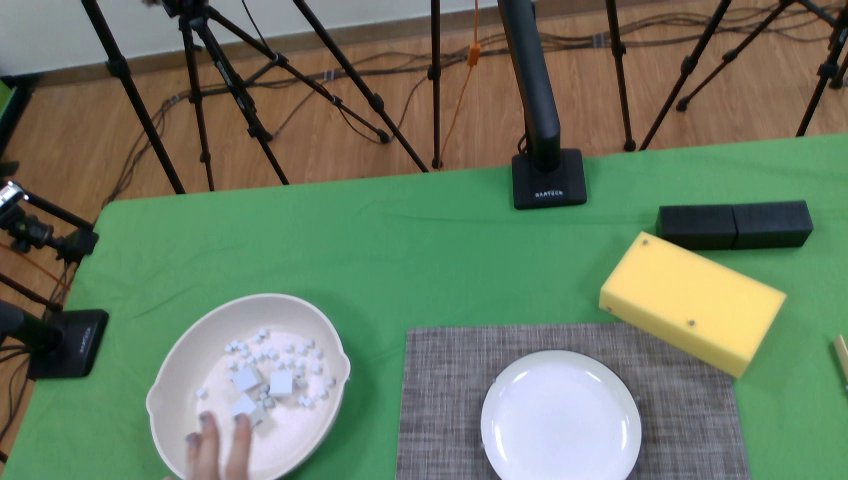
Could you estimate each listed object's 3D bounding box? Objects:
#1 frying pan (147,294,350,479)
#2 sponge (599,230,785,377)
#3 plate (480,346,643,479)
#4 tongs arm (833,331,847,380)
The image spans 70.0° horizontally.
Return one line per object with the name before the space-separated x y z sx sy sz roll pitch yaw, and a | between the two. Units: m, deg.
frying pan | -0.244 0.300 0.826 0.306 0.104 0.482 -10 49 7
sponge | 0.367 0.084 0.847 0.205 0.061 0.118 28 66 27
plate | 0.179 0.244 0.802 0.207 0.039 0.205 -6 58 10
tongs arm | 0.559 0.287 0.701 0.028 0.028 0.384 -7 58 6
